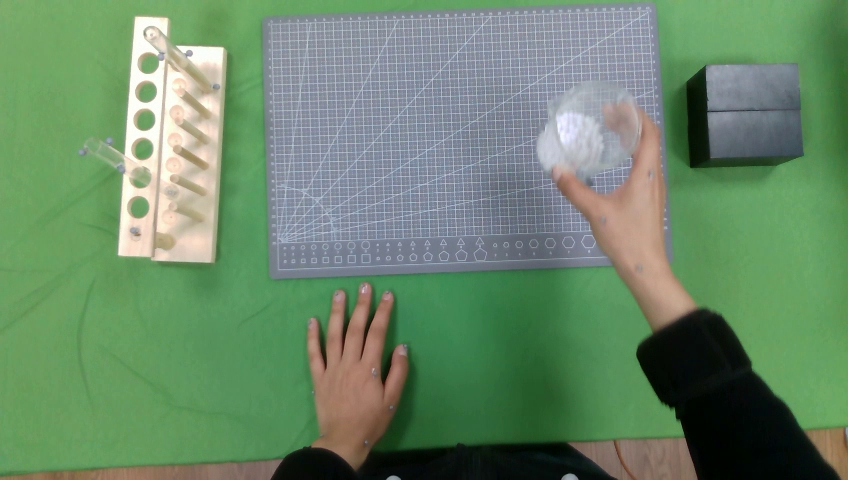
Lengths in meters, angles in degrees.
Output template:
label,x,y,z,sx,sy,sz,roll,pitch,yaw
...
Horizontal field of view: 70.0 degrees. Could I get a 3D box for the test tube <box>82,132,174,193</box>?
label,x,y,z,sx,sy,sz,roll,pitch,yaw
test tube,-0.283,-0.072,0.592,0.017,0.151,0.017,0,79,3

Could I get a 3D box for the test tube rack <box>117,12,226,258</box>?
label,x,y,z,sx,sy,sz,roll,pitch,yaw
test tube rack,-0.264,-0.105,0.643,0.067,0.085,0.242,2,86,1

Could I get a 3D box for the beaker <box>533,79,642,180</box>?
label,x,y,z,sx,sy,sz,roll,pitch,yaw
beaker,0.141,-0.097,0.557,0.084,0.100,0.074,24,86,0

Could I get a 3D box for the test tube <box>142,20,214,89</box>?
label,x,y,z,sx,sy,sz,roll,pitch,yaw
test tube,-0.242,-0.181,0.603,0.017,0.150,0.017,0,85,0
